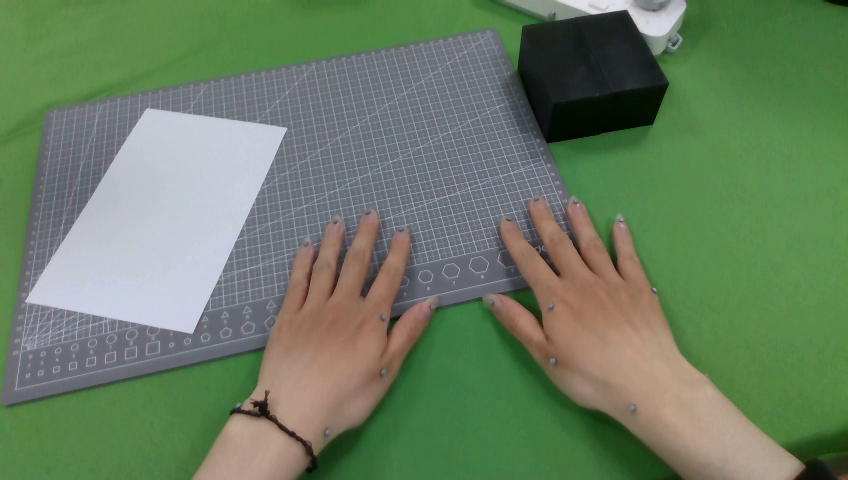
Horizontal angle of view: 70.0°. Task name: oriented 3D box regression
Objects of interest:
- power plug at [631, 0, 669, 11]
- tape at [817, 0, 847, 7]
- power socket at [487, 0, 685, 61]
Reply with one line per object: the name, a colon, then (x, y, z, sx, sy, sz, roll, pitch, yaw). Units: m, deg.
power plug: (0.234, -0.249, 0.596, 0.035, 0.053, 0.072, 39, 67, 24)
tape: (0.451, -0.301, 0.635, 0.117, 0.053, 0.116, -1, 58, 2)
power socket: (0.158, -0.250, 0.627, 0.225, 0.033, 0.072, 30, 63, 20)
